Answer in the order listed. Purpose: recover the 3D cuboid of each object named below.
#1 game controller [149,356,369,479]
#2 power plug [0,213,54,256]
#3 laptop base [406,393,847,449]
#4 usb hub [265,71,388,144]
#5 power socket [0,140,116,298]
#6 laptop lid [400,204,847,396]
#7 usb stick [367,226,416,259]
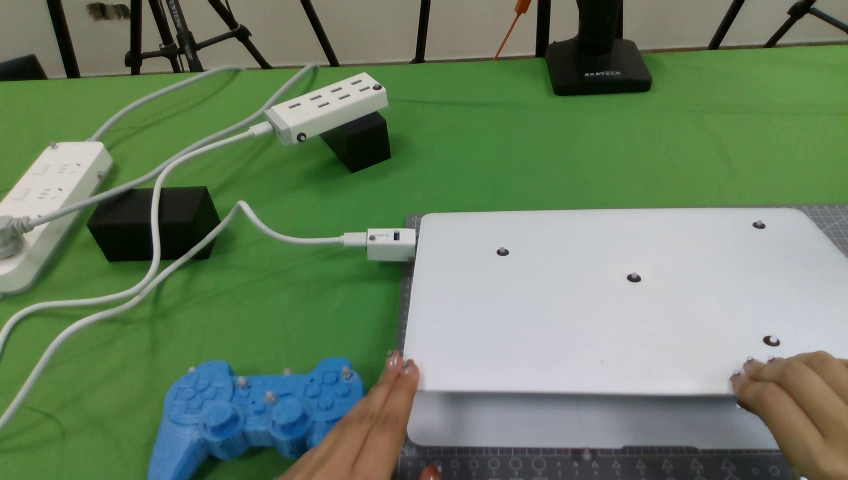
[{"bbox_3d":[-0.115,0.128,0.438,0.155,0.052,0.096,-1,40,3],"label":"game controller"},{"bbox_3d":[-0.376,0.003,0.561,0.072,0.053,0.035,10,45,11],"label":"power plug"},{"bbox_3d":[0.168,0.063,0.501,0.354,0.023,0.233,-1,48,4],"label":"laptop base"},{"bbox_3d":[-0.104,-0.144,0.657,0.125,0.025,0.049,-28,50,-20],"label":"usb hub"},{"bbox_3d":[-0.399,-0.032,0.632,0.072,0.033,0.224,1,45,5],"label":"power socket"},{"bbox_3d":[0.165,0.033,0.475,0.356,0.013,0.239,0,33,5],"label":"laptop lid"},{"bbox_3d":[-0.023,0.003,0.555,0.059,0.027,0.021,1,44,-5],"label":"usb stick"}]
